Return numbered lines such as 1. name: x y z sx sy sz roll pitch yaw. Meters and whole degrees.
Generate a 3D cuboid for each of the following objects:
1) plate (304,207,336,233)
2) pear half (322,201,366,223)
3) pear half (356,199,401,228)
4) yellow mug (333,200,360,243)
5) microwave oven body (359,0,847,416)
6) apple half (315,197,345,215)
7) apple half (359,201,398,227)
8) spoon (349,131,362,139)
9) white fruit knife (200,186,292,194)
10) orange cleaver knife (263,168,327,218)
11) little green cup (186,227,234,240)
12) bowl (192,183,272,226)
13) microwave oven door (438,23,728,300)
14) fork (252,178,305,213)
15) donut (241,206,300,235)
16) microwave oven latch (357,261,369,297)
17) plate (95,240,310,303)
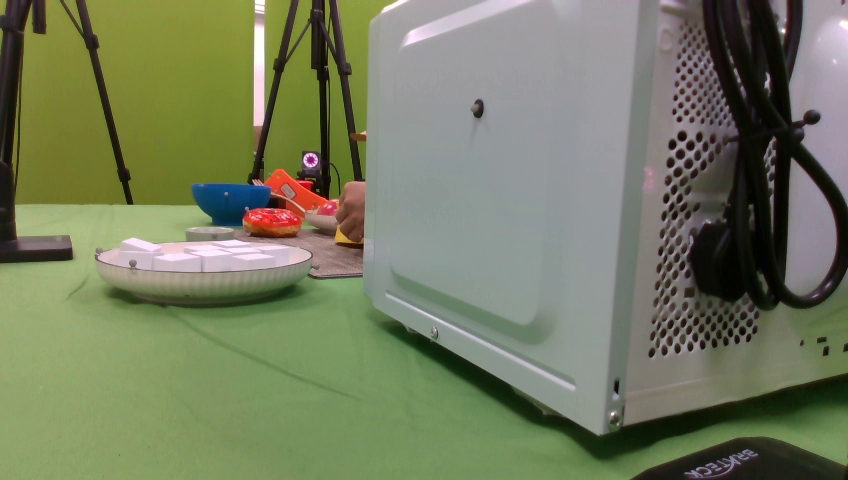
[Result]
1. plate: -0.123 -0.037 1.149 0.209 0.038 0.209 2 7 0
2. pear half: -0.157 -0.059 1.197 0.088 0.031 0.070 12 31 -4
3. pear half: -0.075 -0.047 1.132 0.076 0.056 0.110 13 5 31
4. yellow mug: -0.097 -0.029 0.958 0.100 0.064 0.131 4 5 8
5. microwave oven body: 0.211 -0.047 0.474 0.444 0.260 0.324 -1 7 -28
6. apple half: -0.162 -0.052 1.121 0.081 0.053 0.074 4 7 -14
7. apple half: -0.088 -0.059 1.190 0.081 0.033 0.081 10 30 -5
8. spoon: -0.113 -0.237 1.290 0.041 0.021 0.194 4 21 14
9. white fruit knife: -0.399 -0.111 1.368 0.208 0.016 0.027 -4 -19 -30
10. orange cleaver knife: -0.262 -0.088 1.353 0.211 0.077 0.012 28 13 -1
11. little green cup: -0.284 0.005 0.805 0.061 0.038 0.061 2 8 0
12. bowl: -0.381 -0.071 1.202 0.151 0.077 0.151 3 7 0
13. microwave oven door: 0.181 -0.072 0.621 0.358 0.243 0.039 -2 8 -29
14. fork: -0.295 -0.084 1.292 0.206 0.018 0.028 29 10 25
15. donut: -0.263 -0.032 1.039 0.099 0.048 0.099 4 10 0
16. microwave oven latch: -0.019 0.033 0.531 0.079 0.029 0.030 -1 7 -27
17. plate: -0.224 0.031 0.629 0.208 0.039 0.207 2 7 0
